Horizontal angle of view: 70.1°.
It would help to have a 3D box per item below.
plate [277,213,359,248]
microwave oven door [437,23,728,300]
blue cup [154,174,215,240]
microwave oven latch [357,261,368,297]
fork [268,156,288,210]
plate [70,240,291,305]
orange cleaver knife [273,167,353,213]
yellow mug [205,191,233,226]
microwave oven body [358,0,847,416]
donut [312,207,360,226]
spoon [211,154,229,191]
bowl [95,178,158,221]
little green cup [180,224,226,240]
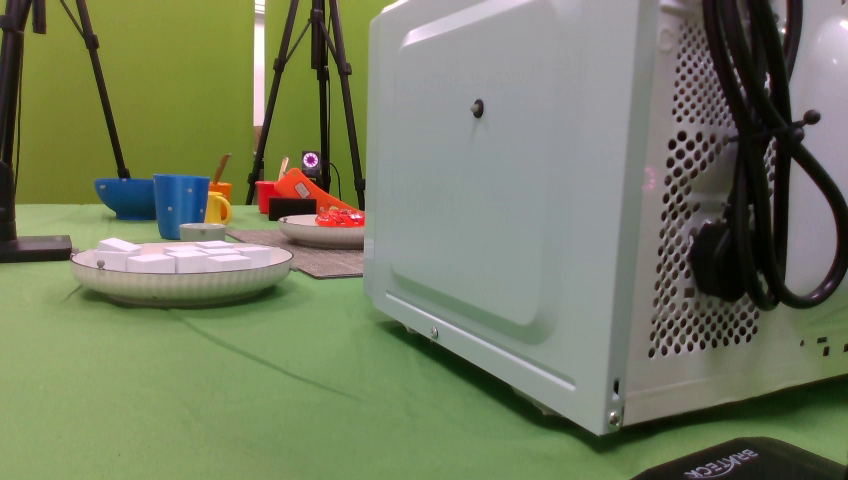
[{"bbox_3d":[-0.135,-0.017,0.992,0.209,0.038,0.209,2,8,0],"label":"plate"},{"bbox_3d":[0.180,-0.072,0.621,0.358,0.243,0.039,-2,8,-29],"label":"microwave oven door"},{"bbox_3d":[-0.391,-0.053,0.978,0.093,0.100,0.092,4,6,0],"label":"blue cup"},{"bbox_3d":[-0.019,0.033,0.531,0.079,0.029,0.030,-1,7,-27],"label":"microwave oven latch"},{"bbox_3d":[-0.360,-0.144,1.508,0.028,0.018,0.207,1,49,0],"label":"fork"},{"bbox_3d":[-0.242,0.031,0.618,0.208,0.039,0.207,2,8,0],"label":"plate"},{"bbox_3d":[-0.238,-0.090,1.381,0.212,0.077,0.012,31,0,-19],"label":"orange cleaver knife"},{"bbox_3d":[-0.415,-0.057,1.132,0.130,0.064,0.100,6,8,16],"label":"yellow mug"},{"bbox_3d":[0.211,-0.047,0.474,0.444,0.260,0.324,-1,7,-28],"label":"microwave oven body"},{"bbox_3d":[-0.135,-0.029,0.997,0.099,0.048,0.099,3,10,0],"label":"donut"},{"bbox_3d":[-0.431,-0.114,1.253,0.042,0.193,0.021,-3,54,-33],"label":"spoon"},{"bbox_3d":[-0.576,-0.081,1.217,0.151,0.077,0.151,3,8,0],"label":"bowl"},{"bbox_3d":[-0.309,-0.001,0.846,0.061,0.038,0.061,2,8,0],"label":"little green cup"}]
